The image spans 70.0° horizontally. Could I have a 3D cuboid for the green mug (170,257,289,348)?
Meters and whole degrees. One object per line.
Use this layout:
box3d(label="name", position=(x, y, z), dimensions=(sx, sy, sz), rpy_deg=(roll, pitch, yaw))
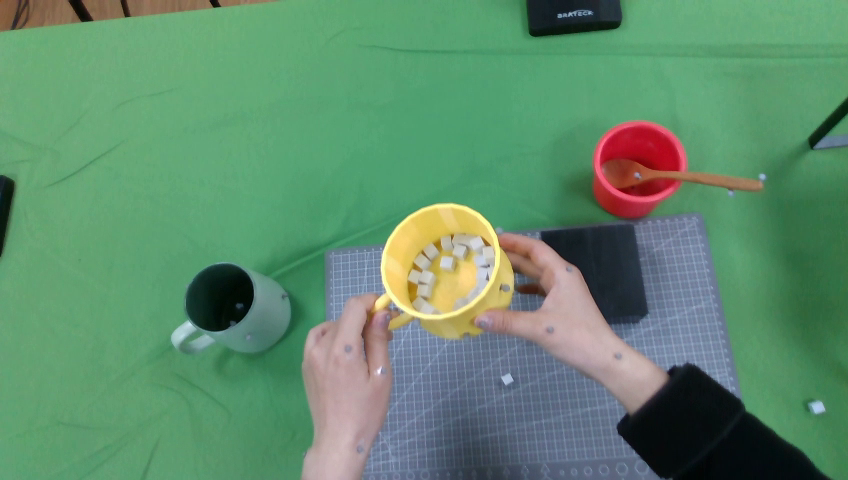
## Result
box3d(label="green mug", position=(-0.224, 0.080, 0.683), dimensions=(0.125, 0.105, 0.092), rpy_deg=(-36, 73, -5))

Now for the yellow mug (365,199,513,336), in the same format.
box3d(label="yellow mug", position=(0.006, 0.033, 0.505), dimensions=(0.131, 0.064, 0.099), rpy_deg=(-36, 62, 2))

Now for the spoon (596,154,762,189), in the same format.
box3d(label="spoon", position=(0.265, -0.071, 0.652), dimensions=(0.041, 0.022, 0.192), rpy_deg=(-58, 32, -9))
